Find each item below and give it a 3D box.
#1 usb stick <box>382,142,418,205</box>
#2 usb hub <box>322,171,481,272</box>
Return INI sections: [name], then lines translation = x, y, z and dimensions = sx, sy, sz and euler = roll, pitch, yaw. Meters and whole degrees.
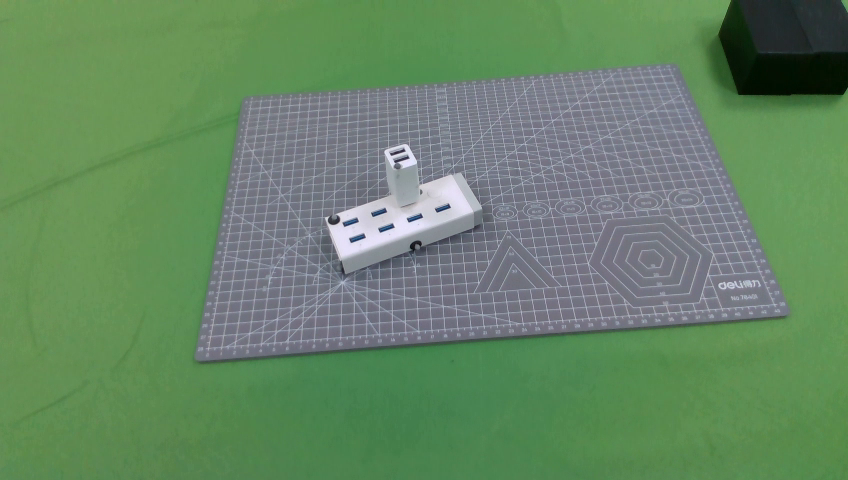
[usb stick]
translation = -0.019, -0.049, 0.495
dimensions = 0.021, 0.060, 0.027
euler = -19, 52, -12
[usb hub]
translation = -0.019, -0.018, 0.509
dimensions = 0.125, 0.025, 0.049
euler = -19, 54, -11
